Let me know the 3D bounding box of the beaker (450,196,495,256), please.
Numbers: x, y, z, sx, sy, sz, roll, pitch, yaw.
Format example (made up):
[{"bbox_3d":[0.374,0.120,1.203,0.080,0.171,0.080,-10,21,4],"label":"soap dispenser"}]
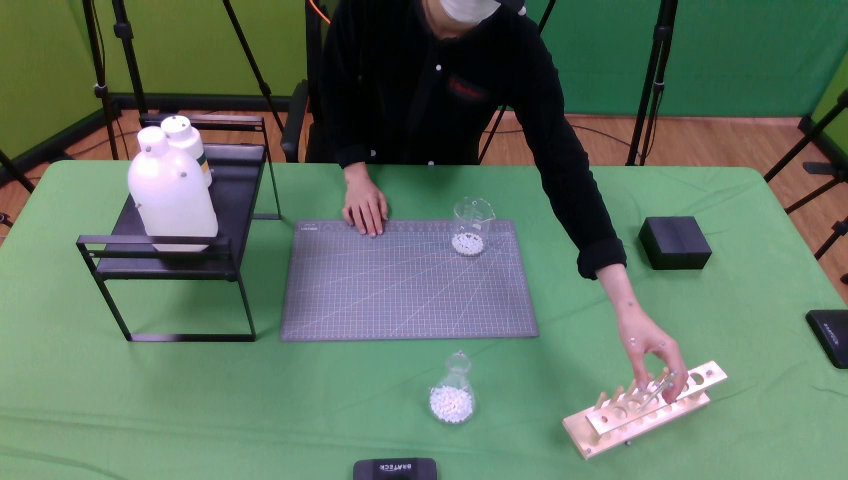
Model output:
[{"bbox_3d":[0.092,-0.024,1.170,0.084,0.101,0.073,15,48,10],"label":"beaker"}]

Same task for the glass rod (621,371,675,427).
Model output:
[{"bbox_3d":[0.316,0.230,0.863,0.008,0.200,0.008,3,54,-3],"label":"glass rod"}]

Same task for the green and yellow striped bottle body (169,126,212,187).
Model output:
[{"bbox_3d":[-0.388,-0.139,0.984,0.063,0.120,0.063,2,46,-2],"label":"green and yellow striped bottle body"}]

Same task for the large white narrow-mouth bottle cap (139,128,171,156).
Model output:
[{"bbox_3d":[-0.358,-0.131,0.807,0.038,0.024,0.037,3,47,-3],"label":"large white narrow-mouth bottle cap"}]

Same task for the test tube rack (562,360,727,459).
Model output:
[{"bbox_3d":[0.341,0.247,0.940,0.243,0.085,0.066,-16,49,-18],"label":"test tube rack"}]

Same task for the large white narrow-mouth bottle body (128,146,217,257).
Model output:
[{"bbox_3d":[-0.365,-0.072,0.872,0.102,0.195,0.101,3,47,-3],"label":"large white narrow-mouth bottle body"}]

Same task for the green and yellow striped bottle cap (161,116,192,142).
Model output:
[{"bbox_3d":[-0.387,-0.174,0.946,0.045,0.020,0.045,3,44,-3],"label":"green and yellow striped bottle cap"}]

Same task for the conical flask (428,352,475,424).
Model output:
[{"bbox_3d":[0.046,0.220,0.920,0.075,0.122,0.075,2,46,-2],"label":"conical flask"}]
